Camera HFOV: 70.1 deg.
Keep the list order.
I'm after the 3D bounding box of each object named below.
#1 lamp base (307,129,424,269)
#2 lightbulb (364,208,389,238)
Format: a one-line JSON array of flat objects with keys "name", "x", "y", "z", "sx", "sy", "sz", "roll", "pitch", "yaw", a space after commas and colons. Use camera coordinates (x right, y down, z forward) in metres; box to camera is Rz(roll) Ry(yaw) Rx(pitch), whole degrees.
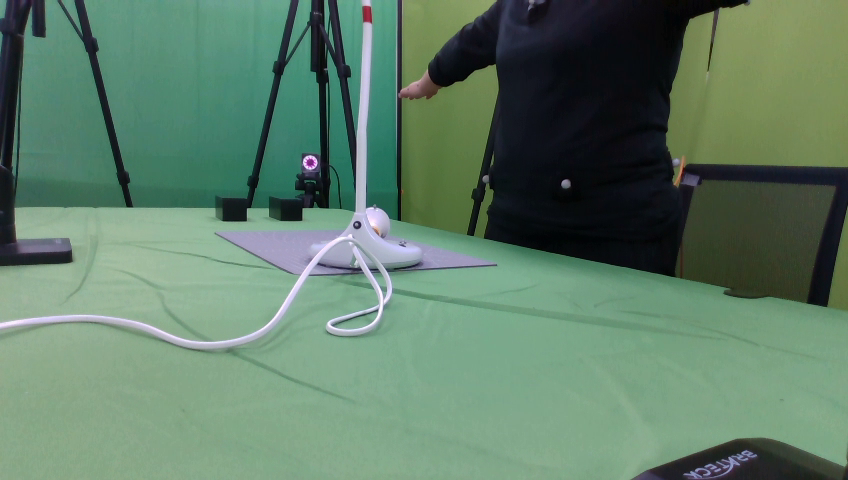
[{"name": "lamp base", "x": -0.077, "y": -0.057, "z": 0.811, "sx": 0.161, "sy": 0.180, "sz": 0.179, "roll": 2, "pitch": 10, "yaw": -4}, {"name": "lightbulb", "x": -0.089, "y": -0.017, "z": 1.019, "sx": 0.059, "sy": 0.059, "sz": 0.107, "roll": 3, "pitch": 23, "yaw": -2}]
